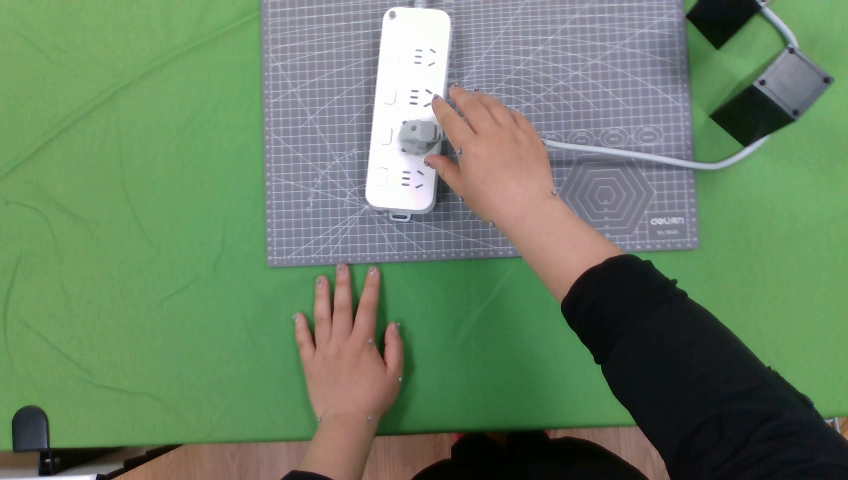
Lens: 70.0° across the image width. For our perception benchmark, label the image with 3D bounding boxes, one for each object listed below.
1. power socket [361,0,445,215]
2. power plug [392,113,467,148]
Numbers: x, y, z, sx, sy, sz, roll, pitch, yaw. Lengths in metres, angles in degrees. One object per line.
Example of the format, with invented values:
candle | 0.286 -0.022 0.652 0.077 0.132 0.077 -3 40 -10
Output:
power socket | -0.021 -0.140 0.629 0.072 0.032 0.226 5 87 3
power plug | 0.003 -0.105 0.608 0.072 0.053 0.035 17 87 2
